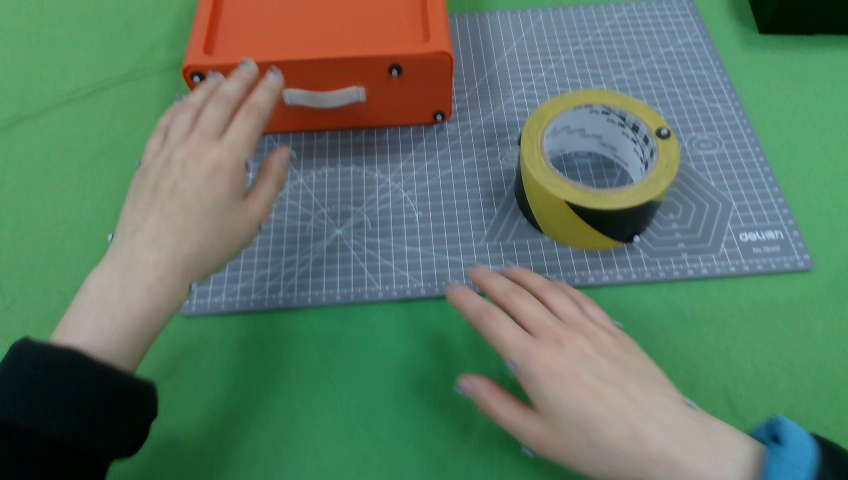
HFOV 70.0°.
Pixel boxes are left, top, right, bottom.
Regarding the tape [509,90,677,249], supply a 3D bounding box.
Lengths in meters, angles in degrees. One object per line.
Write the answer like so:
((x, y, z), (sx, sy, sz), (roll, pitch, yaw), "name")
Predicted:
((0.124, -0.053, 0.448), (0.117, 0.053, 0.116), (-1, 58, 2), "tape")

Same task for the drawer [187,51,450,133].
((-0.082, -0.195, 0.523), (0.194, 0.074, 0.209), (-4, 58, 0), "drawer")

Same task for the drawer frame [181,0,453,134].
((-0.084, -0.197, 0.524), (0.202, 0.083, 0.211), (-4, 57, -1), "drawer frame")
